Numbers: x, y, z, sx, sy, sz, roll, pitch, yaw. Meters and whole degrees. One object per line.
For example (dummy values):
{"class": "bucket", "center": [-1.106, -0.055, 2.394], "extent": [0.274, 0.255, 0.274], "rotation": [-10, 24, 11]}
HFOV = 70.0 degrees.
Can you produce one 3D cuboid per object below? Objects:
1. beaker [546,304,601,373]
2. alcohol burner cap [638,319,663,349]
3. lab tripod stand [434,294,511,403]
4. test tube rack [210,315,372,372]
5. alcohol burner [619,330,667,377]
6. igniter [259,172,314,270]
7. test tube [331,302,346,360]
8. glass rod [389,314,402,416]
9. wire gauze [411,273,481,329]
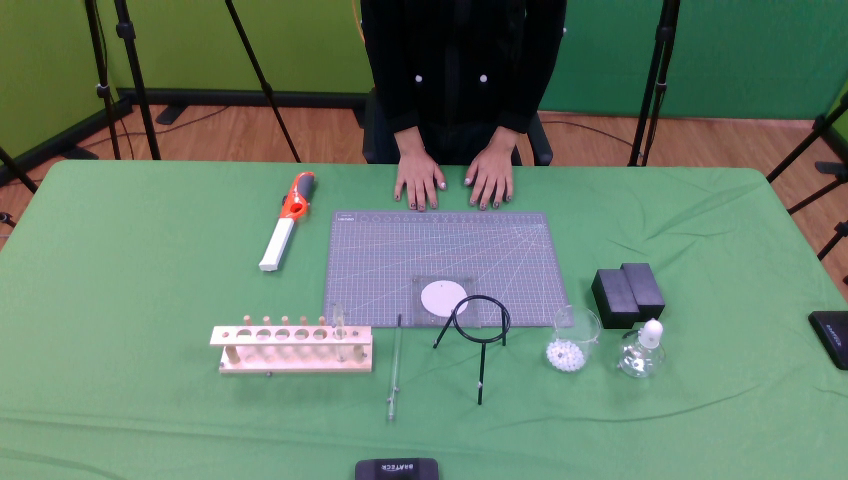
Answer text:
{"class": "beaker", "center": [0.242, 0.167, 1.001], "extent": [0.084, 0.101, 0.073], "rotation": [-32, 55, -28]}
{"class": "alcohol burner cap", "center": [0.364, 0.147, 0.968], "extent": [0.034, 0.048, 0.033], "rotation": [-1, 44, 1]}
{"class": "lab tripod stand", "center": [0.087, 0.164, 0.969], "extent": [0.148, 0.132, 0.147], "rotation": [3, 47, -3]}
{"class": "test tube rack", "center": [-0.208, 0.163, 0.982], "extent": [0.242, 0.085, 0.066], "rotation": [1, 46, -4]}
{"class": "alcohol burner", "center": [0.363, 0.172, 0.995], "extent": [0.078, 0.120, 0.077], "rotation": [1, 48, -1]}
{"class": "igniter", "center": [-0.273, -0.046, 1.220], "extent": [0.057, 0.025, 0.275], "rotation": [0, 45, 11]}
{"class": "test tube", "center": [-0.132, 0.144, 0.938], "extent": [0.017, 0.151, 0.017], "rotation": [2, 49, -3]}
{"class": "glass rod", "center": [-0.047, 0.203, 1.007], "extent": [0.008, 0.008, 0.198], "rotation": [4, 45, 0]}
{"class": "wire gauze", "center": [0.038, 0.108, 1.103], "extent": [0.125, 0.011, 0.120], "rotation": [2, 47, -3]}
